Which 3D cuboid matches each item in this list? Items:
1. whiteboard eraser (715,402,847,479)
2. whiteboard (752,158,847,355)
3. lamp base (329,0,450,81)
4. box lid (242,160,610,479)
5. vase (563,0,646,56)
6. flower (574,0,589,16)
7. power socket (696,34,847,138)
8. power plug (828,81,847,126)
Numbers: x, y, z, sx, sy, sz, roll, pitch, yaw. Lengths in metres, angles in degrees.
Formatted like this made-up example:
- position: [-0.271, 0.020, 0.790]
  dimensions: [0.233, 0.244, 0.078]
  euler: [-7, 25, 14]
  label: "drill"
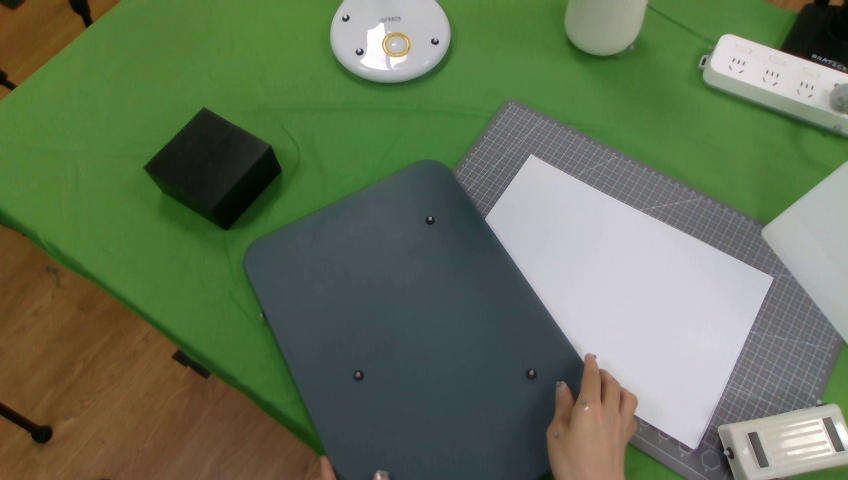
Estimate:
- position: [0.333, 0.188, 0.562]
  dimensions: [0.113, 0.042, 0.055]
  euler: [-10, 63, -3]
  label: "whiteboard eraser"
- position: [0.518, -0.020, 0.550]
  dimensions: [0.144, 0.307, 0.215]
  euler: [-13, 62, -28]
  label: "whiteboard"
- position: [-0.053, -0.320, 0.742]
  dimensions: [0.161, 0.182, 0.177]
  euler: [-20, 62, -9]
  label: "lamp base"
- position: [-0.011, 0.092, 0.632]
  dimensions: [0.263, 0.015, 0.368]
  euler: [-27, 65, -12]
  label: "box lid"
- position: [0.227, -0.318, 0.725]
  dimensions: [0.098, 0.201, 0.097]
  euler: [-1, 63, 2]
  label: "vase"
- position: [0.236, -0.339, 0.644]
  dimensions: [0.044, 0.362, 0.038]
  euler: [-9, 81, -12]
  label: "flower"
- position: [0.455, -0.191, 0.752]
  dimensions: [0.226, 0.033, 0.072]
  euler: [25, 68, 12]
  label: "power socket"
- position: [0.485, -0.156, 0.709]
  dimensions: [0.035, 0.053, 0.072]
  euler: [36, 76, 17]
  label: "power plug"
